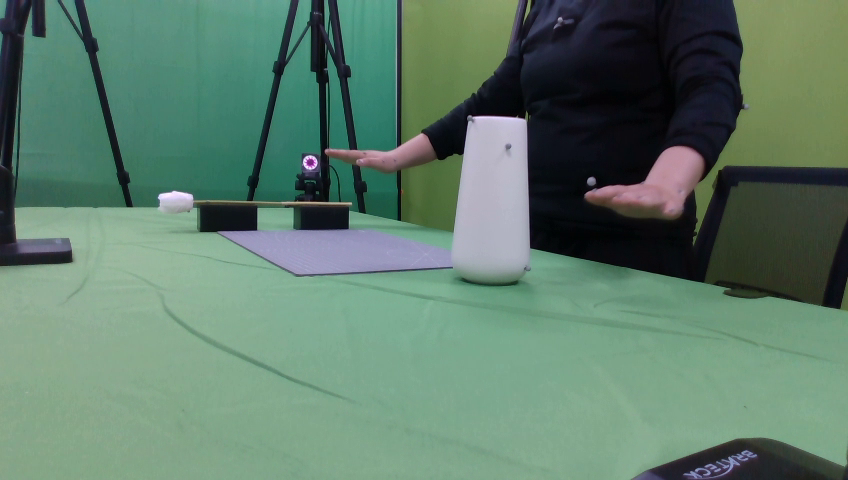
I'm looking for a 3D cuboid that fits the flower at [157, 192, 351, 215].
[{"bbox_3d":[-0.314,-0.075,1.160,0.363,0.038,0.044,-4,-22,-24],"label":"flower"}]

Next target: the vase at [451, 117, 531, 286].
[{"bbox_3d":[0.083,-0.047,0.737,0.098,0.200,0.098,1,6,0],"label":"vase"}]
